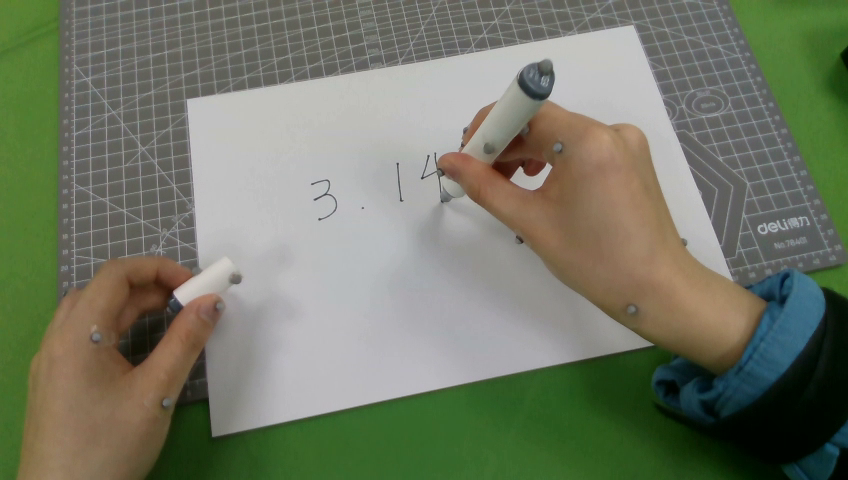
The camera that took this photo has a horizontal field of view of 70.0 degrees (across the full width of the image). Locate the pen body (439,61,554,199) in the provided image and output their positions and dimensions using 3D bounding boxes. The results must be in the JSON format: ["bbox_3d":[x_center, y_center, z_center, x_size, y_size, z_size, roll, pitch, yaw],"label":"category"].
[{"bbox_3d":[0.027,-0.043,0.295,0.017,0.144,0.017,3,75,-13],"label":"pen body"}]

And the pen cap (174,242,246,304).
[{"bbox_3d":[-0.112,0.018,0.315,0.038,0.017,0.017,-35,72,12],"label":"pen cap"}]
